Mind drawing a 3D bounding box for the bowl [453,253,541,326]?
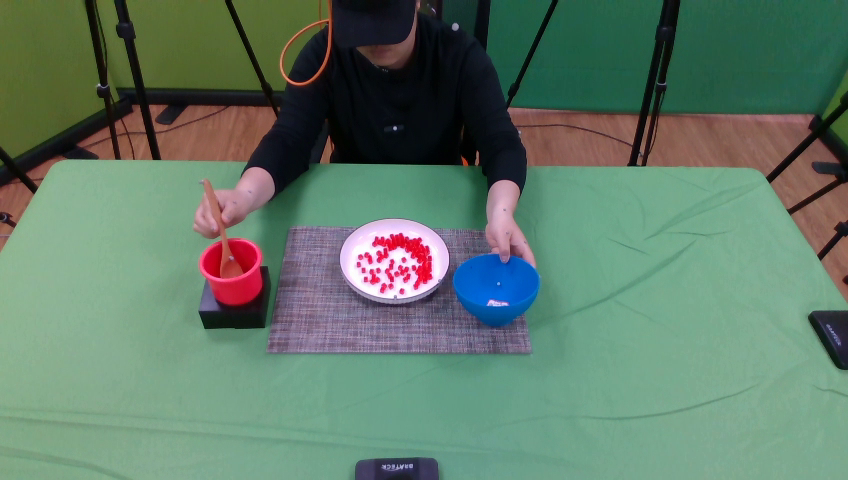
[{"bbox_3d":[0.127,0.096,1.059,0.151,0.077,0.150,-3,34,2],"label":"bowl"}]

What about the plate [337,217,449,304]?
[{"bbox_3d":[-0.058,0.042,1.137,0.208,0.039,0.206,2,46,-2],"label":"plate"}]

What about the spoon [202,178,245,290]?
[{"bbox_3d":[-0.334,-0.009,1.003,0.021,0.194,0.041,9,24,44],"label":"spoon"}]
